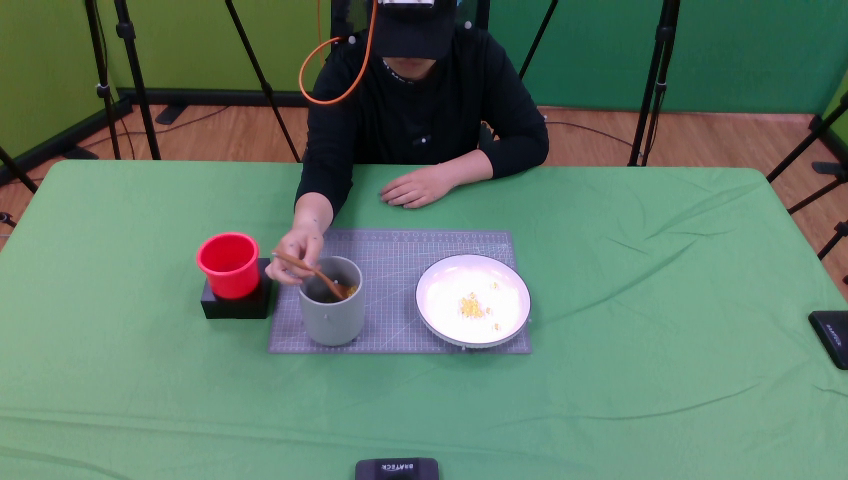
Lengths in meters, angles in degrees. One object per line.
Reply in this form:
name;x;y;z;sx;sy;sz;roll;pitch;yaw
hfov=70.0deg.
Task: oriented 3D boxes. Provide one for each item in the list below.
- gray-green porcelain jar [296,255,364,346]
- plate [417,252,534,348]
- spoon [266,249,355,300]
gray-green porcelain jar;-0.153;0.106;1.008;0.106;0.127;0.105;2;46;-2
plate;0.090;0.109;1.084;0.208;0.039;0.206;2;46;-2
spoon;-0.172;0.054;0.957;0.021;0.195;0.041;-39;45;12
